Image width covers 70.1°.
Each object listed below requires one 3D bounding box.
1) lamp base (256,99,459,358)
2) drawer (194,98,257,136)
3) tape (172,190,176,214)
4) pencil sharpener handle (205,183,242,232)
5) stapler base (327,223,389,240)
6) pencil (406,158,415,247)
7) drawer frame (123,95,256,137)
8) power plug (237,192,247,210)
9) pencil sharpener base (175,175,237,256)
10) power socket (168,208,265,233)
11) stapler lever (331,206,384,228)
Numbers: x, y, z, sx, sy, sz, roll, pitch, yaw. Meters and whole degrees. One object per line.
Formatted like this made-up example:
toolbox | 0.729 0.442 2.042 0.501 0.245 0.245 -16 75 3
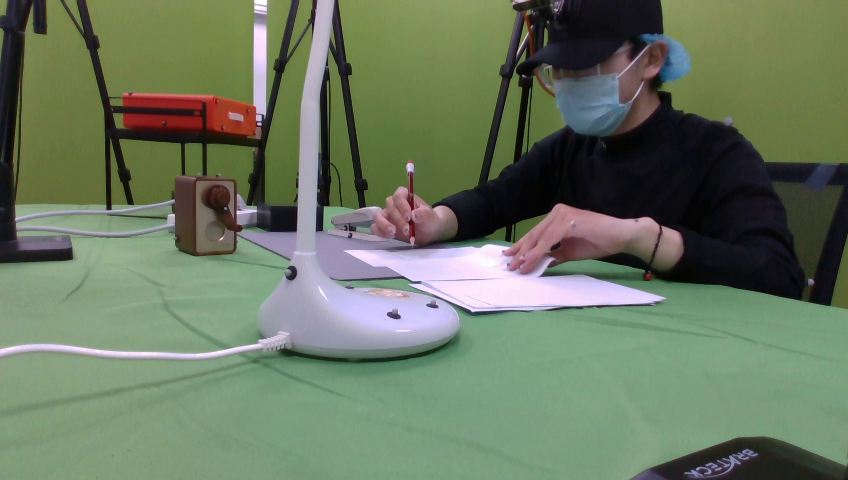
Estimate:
lamp base | -0.055 -0.013 0.463 0.160 0.180 0.180 6 11 27
drawer | -0.518 -0.279 1.376 0.211 0.073 0.195 3 8 9
tape | -0.515 -0.087 1.388 0.117 0.052 0.117 3 7 0
pencil sharpener handle | -0.265 -0.043 0.812 0.036 0.068 0.030 -32 28 -35
stapler base | -0.117 -0.018 1.072 0.130 0.024 0.041 7 8 41
pencil | -0.020 -0.060 0.915 0.012 0.012 0.193 2 46 -5
drawer frame | -0.524 -0.280 1.376 0.213 0.082 0.202 3 8 8
power plug | -0.386 -0.071 1.204 0.072 0.052 0.035 7 9 26
pencil sharpener base | -0.304 -0.035 0.847 0.062 0.107 0.076 -4 10 -42
power socket | -0.381 -0.038 1.129 0.072 0.032 0.227 4 8 17
stapler lever | -0.118 -0.043 1.070 0.117 0.040 0.027 7 8 41
